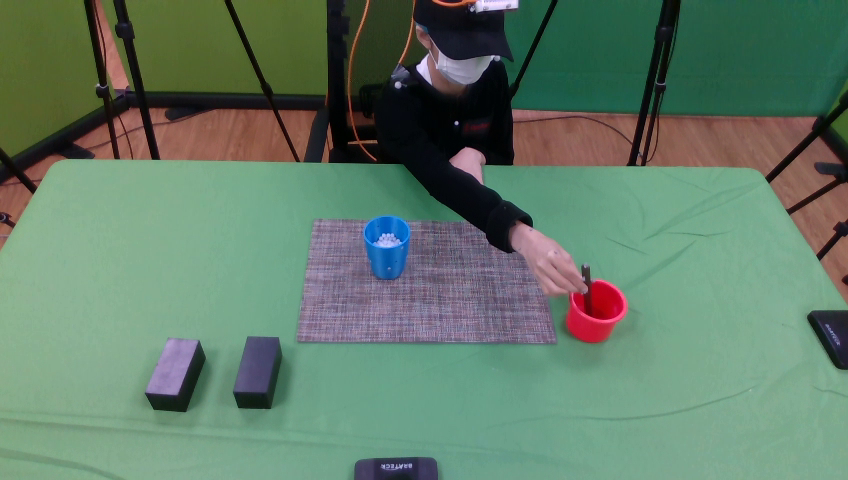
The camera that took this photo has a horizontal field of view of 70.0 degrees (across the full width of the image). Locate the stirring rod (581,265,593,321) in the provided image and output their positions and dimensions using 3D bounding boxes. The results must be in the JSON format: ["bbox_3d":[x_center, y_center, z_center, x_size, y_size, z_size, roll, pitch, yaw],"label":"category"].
[{"bbox_3d":[0.273,0.091,1.011,0.014,0.177,0.006,13,59,25],"label":"stirring rod"}]

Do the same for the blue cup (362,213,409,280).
[{"bbox_3d":[-0.069,0.020,1.113,0.093,0.101,0.092,1,46,-1],"label":"blue cup"}]
